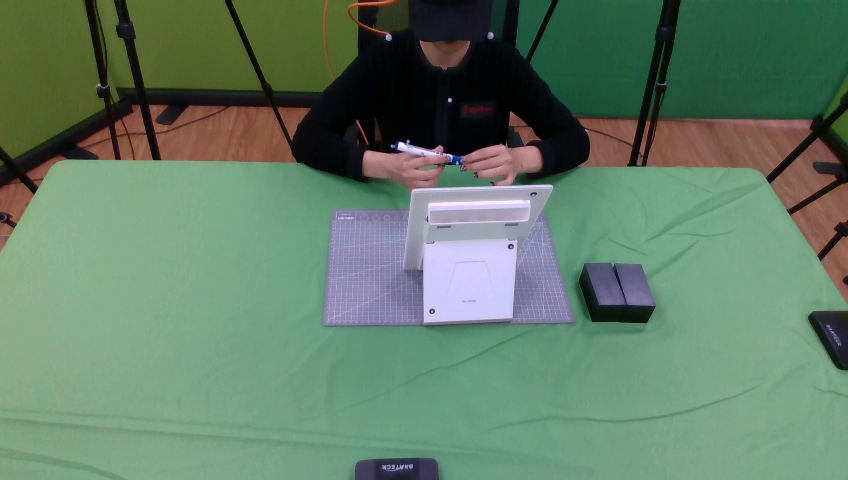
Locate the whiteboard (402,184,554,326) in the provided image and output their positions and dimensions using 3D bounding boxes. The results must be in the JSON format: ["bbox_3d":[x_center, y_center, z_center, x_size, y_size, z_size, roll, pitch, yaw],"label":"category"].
[{"bbox_3d":[0.081,0.044,1.005,0.217,0.306,0.143,-1,65,-6],"label":"whiteboard"}]

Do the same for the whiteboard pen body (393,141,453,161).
[{"bbox_3d":[0.010,-0.172,1.194,0.141,0.017,0.017,13,46,-6],"label":"whiteboard pen body"}]

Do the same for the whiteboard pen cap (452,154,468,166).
[{"bbox_3d":[0.070,-0.159,1.201,0.033,0.018,0.018,14,46,-6],"label":"whiteboard pen cap"}]
